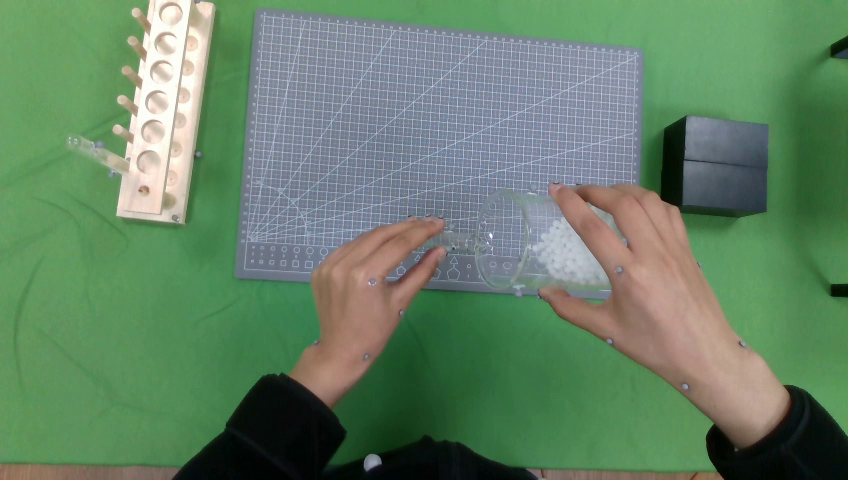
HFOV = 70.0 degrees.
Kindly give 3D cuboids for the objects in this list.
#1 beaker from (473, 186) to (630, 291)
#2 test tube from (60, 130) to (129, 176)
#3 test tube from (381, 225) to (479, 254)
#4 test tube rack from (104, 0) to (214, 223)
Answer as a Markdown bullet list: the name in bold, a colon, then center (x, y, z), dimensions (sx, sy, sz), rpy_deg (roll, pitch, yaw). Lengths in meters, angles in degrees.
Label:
- **beaker**: center (0.096, 0.003, 0.459), dimensions (0.101, 0.083, 0.074), rpy_deg (4, 82, -24)
- **test tube**: center (-0.295, -0.077, 0.559), dimensions (0.017, 0.150, 0.017), rpy_deg (0, 86, -7)
- **test tube**: center (0.000, -0.002, 0.539), dimensions (0.017, 0.149, 0.017), rpy_deg (-3, 96, -30)
- **test tube rack**: center (-0.272, -0.145, 0.612), dimensions (0.067, 0.085, 0.241), rpy_deg (7, 85, -6)
